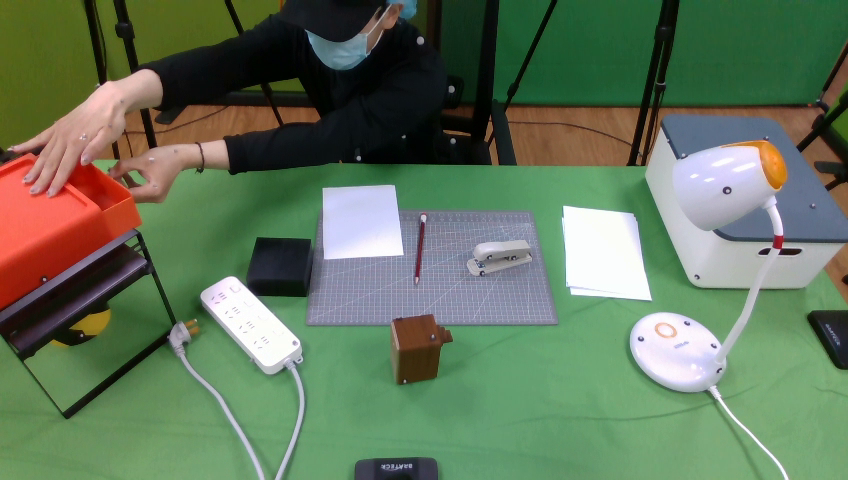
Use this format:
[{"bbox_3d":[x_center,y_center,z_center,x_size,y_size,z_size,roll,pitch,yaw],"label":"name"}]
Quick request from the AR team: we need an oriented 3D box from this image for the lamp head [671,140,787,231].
[{"bbox_3d":[0.415,-0.078,0.811,0.113,0.123,0.112,13,70,-37],"label":"lamp head"}]

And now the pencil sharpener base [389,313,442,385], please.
[{"bbox_3d":[-0.013,0.175,0.971,0.077,0.107,0.061,-8,47,-11],"label":"pencil sharpener base"}]

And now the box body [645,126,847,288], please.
[{"bbox_3d":[0.625,-0.080,1.222,0.254,0.161,0.361,0,46,-3],"label":"box body"}]

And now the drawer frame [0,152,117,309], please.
[{"bbox_3d":[-0.603,-0.012,0.876,0.201,0.083,0.213,31,52,23],"label":"drawer frame"}]

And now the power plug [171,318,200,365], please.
[{"bbox_3d":[-0.392,0.167,1.015,0.052,0.035,0.072,-29,92,-24],"label":"power plug"}]

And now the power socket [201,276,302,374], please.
[{"bbox_3d":[-0.297,0.141,1.034,0.072,0.033,0.225,-34,58,-30],"label":"power socket"}]

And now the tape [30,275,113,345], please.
[{"bbox_3d":[-0.594,0.117,1.021,0.117,0.053,0.116,3,46,-3],"label":"tape"}]

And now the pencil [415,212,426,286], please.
[{"bbox_3d":[-0.007,0.014,1.190,0.012,0.012,0.193,5,48,1],"label":"pencil"}]

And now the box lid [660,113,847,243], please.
[{"bbox_3d":[0.628,-0.133,1.170,0.263,0.015,0.369,1,46,-3],"label":"box lid"}]

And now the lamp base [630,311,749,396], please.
[{"bbox_3d":[0.447,0.143,0.983,0.161,0.181,0.178,-24,55,-24],"label":"lamp base"}]

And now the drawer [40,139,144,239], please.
[{"bbox_3d":[-0.571,-0.040,0.905,0.193,0.073,0.211,33,53,24],"label":"drawer"}]

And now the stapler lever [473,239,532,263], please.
[{"bbox_3d":[0.150,0.017,1.155,0.118,0.040,0.026,-13,49,-17],"label":"stapler lever"}]

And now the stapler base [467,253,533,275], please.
[{"bbox_3d":[0.148,0.034,1.172,0.131,0.024,0.041,-12,49,-17],"label":"stapler base"}]

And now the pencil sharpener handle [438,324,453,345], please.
[{"bbox_3d":[0.036,0.155,0.976,0.031,0.068,0.036,-8,69,-11],"label":"pencil sharpener handle"}]
